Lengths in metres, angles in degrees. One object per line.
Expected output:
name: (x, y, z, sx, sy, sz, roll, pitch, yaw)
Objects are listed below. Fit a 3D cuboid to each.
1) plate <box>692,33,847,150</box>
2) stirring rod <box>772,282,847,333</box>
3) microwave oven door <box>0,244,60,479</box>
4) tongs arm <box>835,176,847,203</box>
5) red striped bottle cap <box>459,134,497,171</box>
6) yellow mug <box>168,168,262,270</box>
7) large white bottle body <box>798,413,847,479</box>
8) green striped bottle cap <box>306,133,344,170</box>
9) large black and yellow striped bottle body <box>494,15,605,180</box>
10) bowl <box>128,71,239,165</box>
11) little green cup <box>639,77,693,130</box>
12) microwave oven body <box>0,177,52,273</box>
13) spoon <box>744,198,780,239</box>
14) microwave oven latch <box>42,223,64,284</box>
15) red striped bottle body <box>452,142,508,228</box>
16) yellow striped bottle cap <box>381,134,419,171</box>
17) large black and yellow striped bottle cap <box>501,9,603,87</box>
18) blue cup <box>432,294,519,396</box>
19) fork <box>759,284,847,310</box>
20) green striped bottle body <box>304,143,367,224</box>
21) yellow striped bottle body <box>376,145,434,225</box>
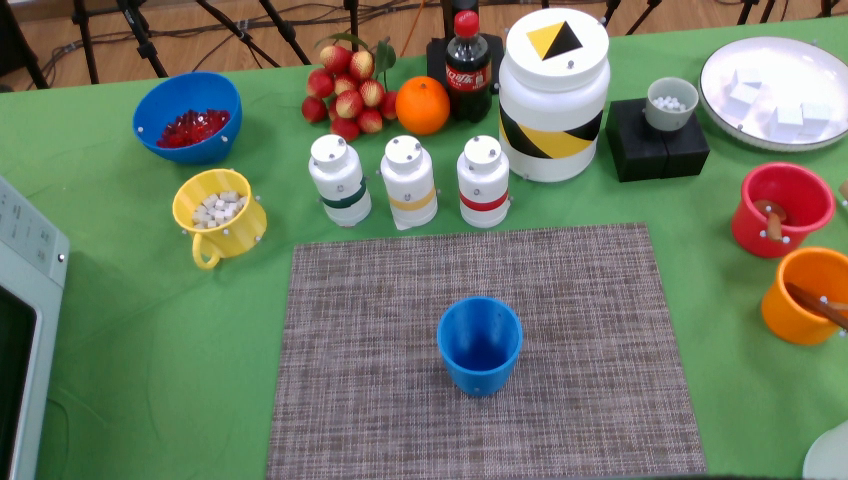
plate: (0.473, -0.200, 0.830, 0.209, 0.038, 0.207, -3, 58, 4)
stirring rod: (0.401, 0.072, 0.610, 0.014, 0.006, 0.175, -1, 15, 3)
microwave oven door: (-0.453, 0.146, 0.570, 0.039, 0.246, 0.352, -12, 58, -1)
tongs arm: (0.579, 0.077, 0.646, 0.051, 0.027, 0.380, -14, 58, -5)
red striped bottle cap: (0.063, -0.102, 0.701, 0.044, 0.018, 0.044, 0, 56, 1)
yellow mug: (-0.272, -0.022, 0.781, 0.100, 0.064, 0.130, 5, 59, 8)
large white bottle body: (0.416, 0.192, 0.503, 0.130, 0.186, 0.129, -3, 57, 5)
green striped bottle cap: (-0.119, -0.106, 0.723, 0.044, 0.020, 0.044, -2, 57, 3)
large black and yellow striped bottle body: (0.154, -0.178, 0.763, 0.131, 0.185, 0.129, -3, 58, 5)
bowl: (-0.330, -0.161, 0.867, 0.151, 0.077, 0.150, -2, 58, 4)
little green cup: (0.305, -0.172, 0.770, 0.061, 0.039, 0.061, -2, 57, 3)
microwave oven body: (-0.603, 0.143, 0.593, 0.326, 0.262, 0.437, -12, 58, -2)
spoon: (0.376, -0.025, 0.668, 0.041, 0.194, 0.022, 26, 109, 21)
microwave oven latch: (-0.482, 0.019, 0.772, 0.030, 0.030, 0.078, -11, 58, -1)
red striped bottle body: (0.070, -0.073, 0.745, 0.063, 0.121, 0.062, -5, 56, 8)
yellow striped bottle cap: (-0.029, -0.104, 0.713, 0.044, 0.019, 0.044, -2, 59, 4)
large black and yellow striped bottle cap: (0.145, -0.221, 0.692, 0.115, 0.019, 0.114, -3, 57, 5)
blue cup: (0.054, 0.118, 0.634, 0.092, 0.101, 0.092, -2, 57, 3)
fork: (0.430, 0.069, 0.600, 0.028, 0.019, 0.206, -31, 16, -18)
green striped bottle body: (-0.112, -0.078, 0.767, 0.063, 0.120, 0.062, -3, 58, 5)
yellow striped bottle body: (-0.024, -0.076, 0.756, 0.063, 0.121, 0.062, -3, 57, 5)
